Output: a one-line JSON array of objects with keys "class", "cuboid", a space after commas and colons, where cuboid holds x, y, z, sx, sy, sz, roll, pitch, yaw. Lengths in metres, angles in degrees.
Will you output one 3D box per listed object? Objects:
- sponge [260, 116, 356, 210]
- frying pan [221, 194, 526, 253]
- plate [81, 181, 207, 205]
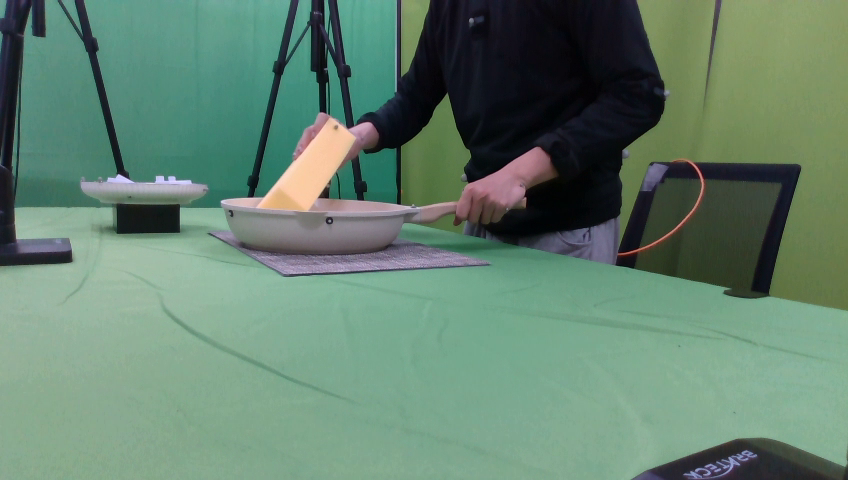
[{"class": "sponge", "cuboid": [-0.207, -0.108, 1.049, 0.061, 0.207, 0.118, 38, -43, -17]}, {"class": "frying pan", "cuboid": [-0.070, -0.043, 0.984, 0.489, 0.102, 0.306, -7, 9, -5]}, {"class": "plate", "cuboid": [-0.505, -0.086, 1.100, 0.208, 0.039, 0.207, 1, 6, 0]}]
